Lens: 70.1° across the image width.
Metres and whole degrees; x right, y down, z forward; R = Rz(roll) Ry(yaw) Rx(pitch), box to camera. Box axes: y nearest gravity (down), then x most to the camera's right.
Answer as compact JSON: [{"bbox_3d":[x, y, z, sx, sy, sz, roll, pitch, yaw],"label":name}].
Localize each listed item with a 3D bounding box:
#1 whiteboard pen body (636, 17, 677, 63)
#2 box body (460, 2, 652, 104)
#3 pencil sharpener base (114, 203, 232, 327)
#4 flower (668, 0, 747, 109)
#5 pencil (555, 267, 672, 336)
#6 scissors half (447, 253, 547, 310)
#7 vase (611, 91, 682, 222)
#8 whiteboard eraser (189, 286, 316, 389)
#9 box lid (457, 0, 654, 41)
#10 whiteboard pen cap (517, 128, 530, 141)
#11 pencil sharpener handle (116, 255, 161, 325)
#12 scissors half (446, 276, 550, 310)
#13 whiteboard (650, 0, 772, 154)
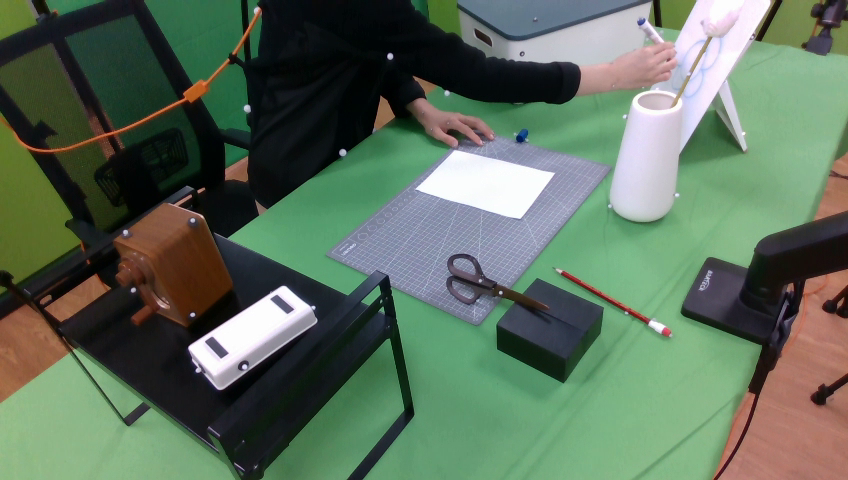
[{"bbox_3d":[0.422,-0.357,1.088,0.017,0.142,0.017,-26,51,38],"label":"whiteboard pen body"},{"bbox_3d":[0.291,-0.465,1.371,0.365,0.161,0.252,-22,42,-16],"label":"box body"},{"bbox_3d":[-0.261,0.029,0.636,0.061,0.107,0.077,18,47,26],"label":"pencil sharpener base"},{"bbox_3d":[0.355,-0.187,0.879,0.038,0.362,0.044,30,48,14],"label":"flower"},{"bbox_3d":[0.261,0.082,0.851,0.012,0.012,0.192,-33,45,-27],"label":"pencil"},{"bbox_3d":[0.098,0.058,0.821,0.173,0.040,0.013,27,33,36],"label":"scissors half"},{"bbox_3d":[0.348,-0.125,0.935,0.098,0.201,0.097,-3,40,3],"label":"vase"},{"bbox_3d":[-0.166,0.096,0.593,0.113,0.042,0.055,-36,46,-29],"label":"whiteboard eraser"},{"bbox_3d":[0.285,-0.522,1.323,0.373,0.015,0.261,-22,43,-16],"label":"box lid"},{"bbox_3d":[0.195,-0.207,1.192,0.018,0.018,0.033,14,40,23],"label":"whiteboard pen cap"},{"bbox_3d":[-0.286,0.050,0.594,0.035,0.068,0.031,7,41,36],"label":"pencil sharpener handle"},{"bbox_3d":[0.098,0.077,0.827,0.174,0.040,0.013,6,14,44],"label":"scissors half"},{"bbox_3d":[0.543,-0.298,1.076,0.144,0.305,0.216,12,40,-7],"label":"whiteboard"}]
